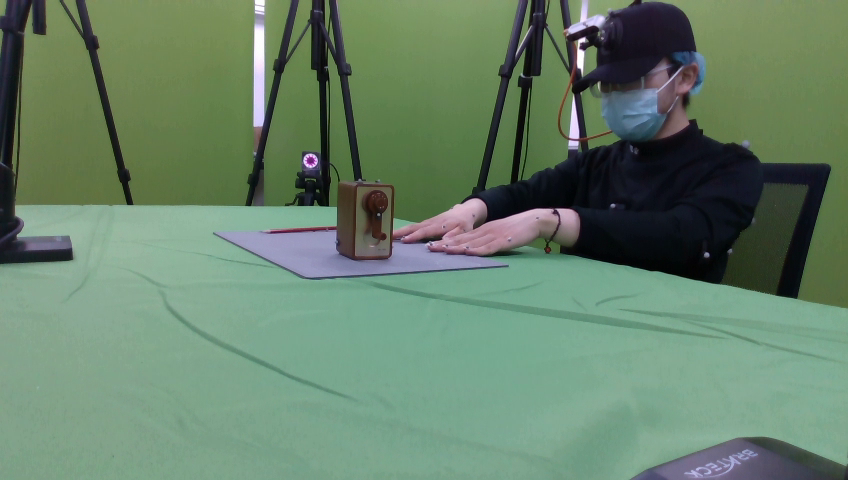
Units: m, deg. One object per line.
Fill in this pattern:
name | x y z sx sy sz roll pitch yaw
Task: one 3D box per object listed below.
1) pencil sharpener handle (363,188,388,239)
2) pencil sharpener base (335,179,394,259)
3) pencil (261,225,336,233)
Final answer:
pencil sharpener handle | -0.060 -0.035 0.808 0.036 0.067 0.030 -2 9 -28
pencil sharpener base | -0.084 -0.030 0.854 0.061 0.107 0.076 -1 8 -28
pencil | -0.212 -0.021 1.123 0.195 0.012 0.012 -5 11 -40
